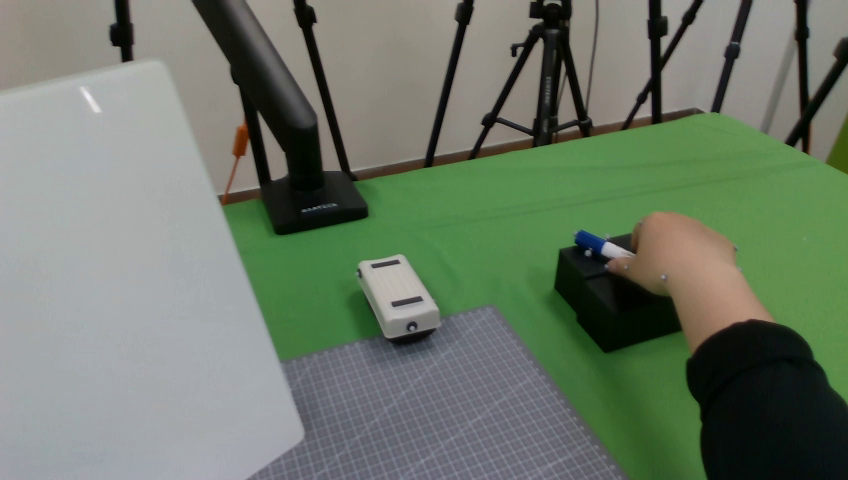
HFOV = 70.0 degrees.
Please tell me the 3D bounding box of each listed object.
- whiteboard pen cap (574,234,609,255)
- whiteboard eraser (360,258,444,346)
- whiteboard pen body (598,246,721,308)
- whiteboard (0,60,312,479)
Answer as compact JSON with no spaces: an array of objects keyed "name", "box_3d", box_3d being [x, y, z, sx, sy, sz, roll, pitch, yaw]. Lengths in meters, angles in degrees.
[{"name":"whiteboard pen cap","box_3d":[0.172,0.005,0.623,0.033,0.018,0.018,-13,32,12]},{"name":"whiteboard eraser","box_3d":[-0.025,0.061,0.606,0.056,0.042,0.111,-13,32,-16]},{"name":"whiteboard pen body","box_3d":[0.218,0.030,0.590,0.139,0.017,0.017,28,43,36]},{"name":"whiteboard","box_3d":[-0.245,0.057,0.424,0.217,0.307,0.143,-28,24,-34]}]
